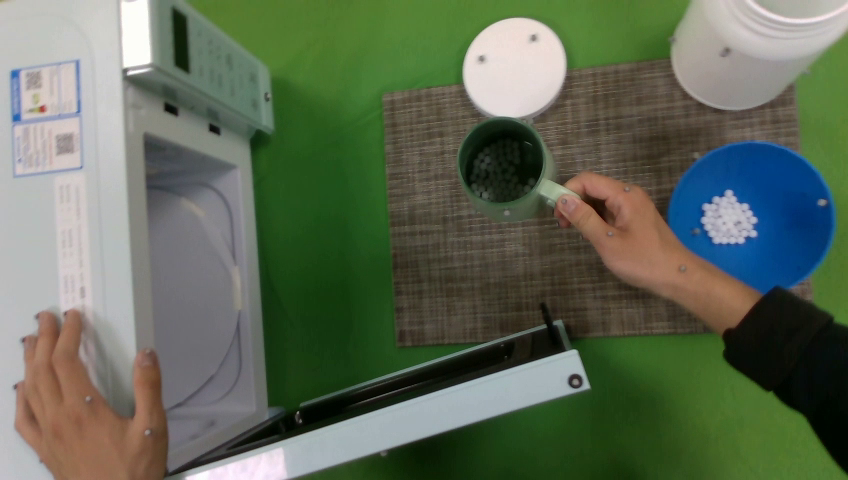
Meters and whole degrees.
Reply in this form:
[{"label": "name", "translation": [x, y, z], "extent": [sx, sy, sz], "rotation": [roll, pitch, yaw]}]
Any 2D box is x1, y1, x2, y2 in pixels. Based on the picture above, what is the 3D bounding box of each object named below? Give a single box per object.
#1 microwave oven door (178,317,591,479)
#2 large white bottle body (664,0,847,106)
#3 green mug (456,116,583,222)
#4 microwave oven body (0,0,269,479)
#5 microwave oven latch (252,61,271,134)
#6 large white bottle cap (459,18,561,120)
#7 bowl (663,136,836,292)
[{"label": "microwave oven door", "translation": [-0.027, 0.155, 0.571], "extent": [0.355, 0.244, 0.039], "rotation": [-20, 84, 9]}, {"label": "large white bottle body", "translation": [0.308, -0.215, 0.566], "extent": [0.130, 0.185, 0.130], "rotation": [-1, 83, 10]}, {"label": "green mug", "translation": [0.091, -0.058, 0.569], "extent": [0.125, 0.105, 0.092], "rotation": [28, 93, 12]}, {"label": "microwave oven body", "translation": [-0.347, 0.019, 0.636], "extent": [0.325, 0.261, 0.441], "rotation": [-6, 87, 9]}, {"label": "microwave oven latch", "translation": [-0.201, -0.167, 0.715], "extent": [0.030, 0.029, 0.079], "rotation": [-8, 87, 9]}, {"label": "large white bottle cap", "translation": [0.097, -0.193, 0.688], "extent": [0.114, 0.018, 0.114], "rotation": [-1, 87, 10]}, {"label": "bowl", "translation": [0.315, -0.023, 0.612], "extent": [0.151, 0.077, 0.151], "rotation": [0, 88, 11]}]
